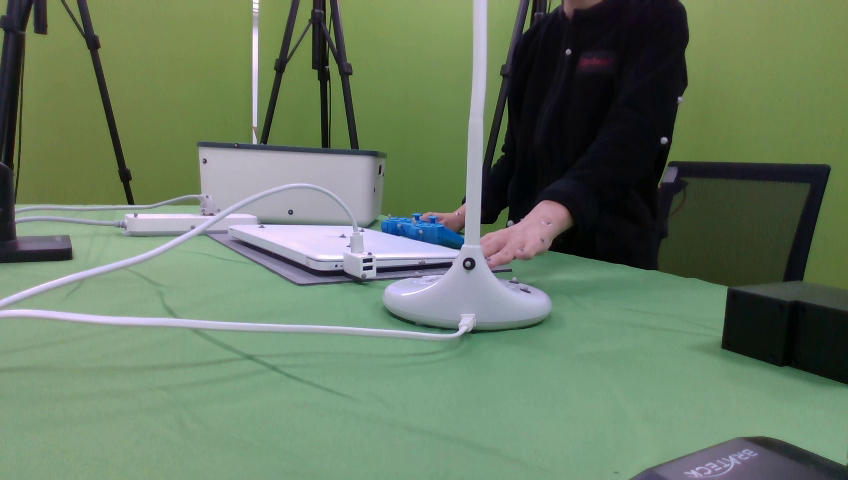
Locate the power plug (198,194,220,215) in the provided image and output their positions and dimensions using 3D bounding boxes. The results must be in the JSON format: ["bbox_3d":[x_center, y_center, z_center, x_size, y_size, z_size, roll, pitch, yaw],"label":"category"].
[{"bbox_3d":[-0.387,-0.055,1.089,0.035,0.052,0.072,-1,7,-22],"label":"power plug"}]

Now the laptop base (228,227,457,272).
[{"bbox_3d":[-0.122,0.011,0.889,0.237,0.023,0.352,2,6,-35],"label":"laptop base"}]

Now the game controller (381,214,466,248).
[{"bbox_3d":[-0.006,-0.017,1.039,0.097,0.051,0.154,-6,10,-33],"label":"game controller"}]

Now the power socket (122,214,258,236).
[{"bbox_3d":[-0.399,-0.028,1.049,0.228,0.032,0.072,-3,8,-34],"label":"power socket"}]

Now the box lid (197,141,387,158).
[{"bbox_3d":[-0.275,-0.196,1.326,0.372,0.015,0.263,4,7,1],"label":"box lid"}]

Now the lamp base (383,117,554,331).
[{"bbox_3d":[0.045,-0.019,0.547,0.161,0.180,0.179,2,10,-4],"label":"lamp base"}]

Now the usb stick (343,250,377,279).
[{"bbox_3d":[-0.076,0.026,0.687,0.021,0.027,0.059,-8,8,-31],"label":"usb stick"}]

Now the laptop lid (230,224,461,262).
[{"bbox_3d":[-0.120,0.000,0.889,0.243,0.013,0.355,1,7,-33],"label":"laptop lid"}]

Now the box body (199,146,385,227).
[{"bbox_3d":[-0.276,-0.124,1.334,0.364,0.160,0.254,3,7,1],"label":"box body"}]
